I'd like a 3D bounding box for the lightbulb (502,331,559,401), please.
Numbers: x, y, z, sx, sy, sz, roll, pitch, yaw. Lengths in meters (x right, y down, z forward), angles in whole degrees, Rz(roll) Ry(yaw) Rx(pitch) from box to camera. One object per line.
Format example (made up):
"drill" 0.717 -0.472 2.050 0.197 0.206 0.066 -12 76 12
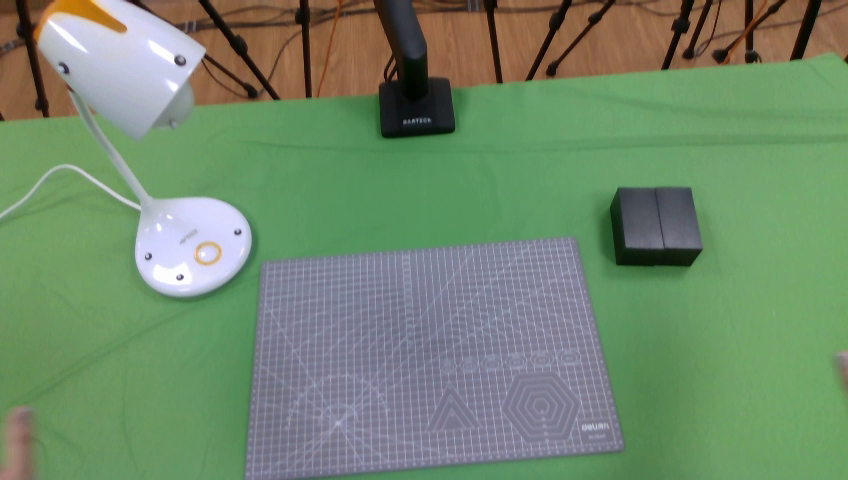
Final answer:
"lightbulb" 0.131 0.157 0.777 0.059 0.060 0.106 -20 43 -10

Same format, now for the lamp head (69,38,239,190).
"lamp head" -0.248 -0.118 0.545 0.124 0.112 0.111 27 54 -24

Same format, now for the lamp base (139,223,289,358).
"lamp base" -0.285 0.047 0.787 0.179 0.182 0.159 8 58 11
